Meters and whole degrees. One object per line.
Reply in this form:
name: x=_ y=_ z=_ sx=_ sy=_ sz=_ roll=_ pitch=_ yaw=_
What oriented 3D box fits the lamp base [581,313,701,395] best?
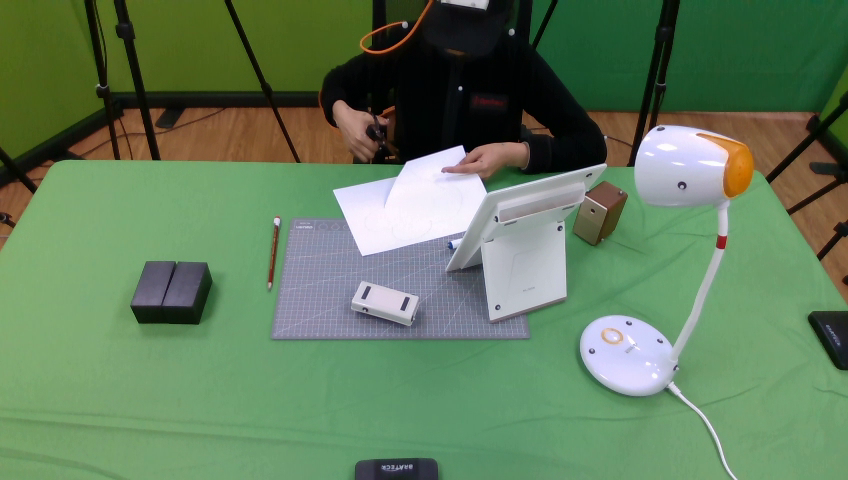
lamp base: x=0.361 y=0.144 z=0.972 sx=0.178 sy=0.181 sz=0.160 roll=34 pitch=53 yaw=23

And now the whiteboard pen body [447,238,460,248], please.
whiteboard pen body: x=0.112 y=-0.006 z=1.204 sx=0.141 sy=0.017 sz=0.017 roll=-14 pitch=49 yaw=-18

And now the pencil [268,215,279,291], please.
pencil: x=-0.291 y=0.022 z=1.164 sx=0.012 sy=0.012 sz=0.192 roll=-2 pitch=48 yaw=-6

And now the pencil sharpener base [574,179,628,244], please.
pencil sharpener base: x=0.355 y=-0.057 z=1.217 sx=0.076 sy=0.107 sz=0.061 roll=-33 pitch=56 yaw=-31

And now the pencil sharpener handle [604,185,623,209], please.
pencil sharpener handle: x=0.390 y=-0.091 z=1.235 sx=0.030 sy=0.068 sz=0.036 roll=-33 pitch=69 yaw=-31

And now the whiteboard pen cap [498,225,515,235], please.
whiteboard pen cap: x=0.166 y=-0.019 z=1.222 sx=0.033 sy=0.018 sz=0.018 roll=-14 pitch=49 yaw=-19

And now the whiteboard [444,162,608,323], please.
whiteboard: x=0.186 y=0.025 z=1.029 sx=0.217 sy=0.306 sz=0.143 roll=-14 pitch=68 yaw=-18

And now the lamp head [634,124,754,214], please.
lamp head: x=0.351 y=-0.089 z=0.775 sx=0.112 sy=0.113 sz=0.122 roll=-30 pitch=30 yaw=-28

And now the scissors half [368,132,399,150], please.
scissors half: x=-0.092 y=-0.219 z=1.384 sx=0.013 sy=0.040 sz=0.174 roll=-16 pitch=20 yaw=-20

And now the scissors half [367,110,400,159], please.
scissors half: x=-0.093 y=-0.239 z=1.371 sx=0.013 sy=0.040 sz=0.174 roll=-20 pitch=56 yaw=-17

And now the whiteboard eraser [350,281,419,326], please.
whiteboard eraser: x=-0.069 y=0.113 z=1.065 sx=0.112 sy=0.042 sz=0.055 roll=14 pitch=46 yaw=9
